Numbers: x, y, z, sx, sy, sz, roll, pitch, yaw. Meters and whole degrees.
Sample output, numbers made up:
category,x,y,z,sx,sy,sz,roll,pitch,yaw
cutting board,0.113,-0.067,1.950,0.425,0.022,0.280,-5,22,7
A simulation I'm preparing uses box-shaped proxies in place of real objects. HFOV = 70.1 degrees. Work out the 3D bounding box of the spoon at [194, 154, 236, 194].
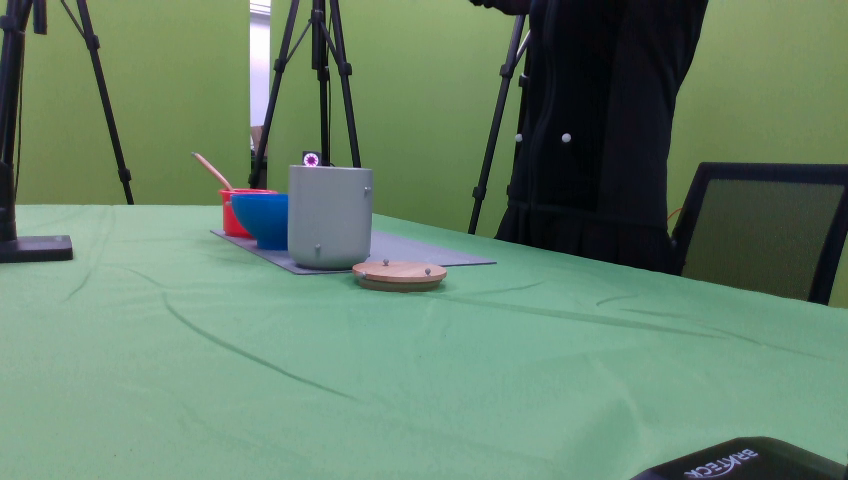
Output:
category,x,y,z,sx,sy,sz,roll,pitch,yaw
spoon,-0.334,-0.083,1.042,0.193,0.021,0.042,50,23,11

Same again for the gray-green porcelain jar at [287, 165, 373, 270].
category,x,y,z,sx,sy,sz,roll,pitch,yaw
gray-green porcelain jar,-0.119,-0.029,0.767,0.106,0.126,0.106,2,7,0

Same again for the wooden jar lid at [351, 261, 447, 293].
category,x,y,z,sx,sy,sz,roll,pitch,yaw
wooden jar lid,-0.028,0.042,0.686,0.108,0.020,0.108,3,8,0

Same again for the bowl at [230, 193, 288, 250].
category,x,y,z,sx,sy,sz,roll,pitch,yaw
bowl,-0.214,-0.028,0.912,0.151,0.077,0.151,2,8,0
